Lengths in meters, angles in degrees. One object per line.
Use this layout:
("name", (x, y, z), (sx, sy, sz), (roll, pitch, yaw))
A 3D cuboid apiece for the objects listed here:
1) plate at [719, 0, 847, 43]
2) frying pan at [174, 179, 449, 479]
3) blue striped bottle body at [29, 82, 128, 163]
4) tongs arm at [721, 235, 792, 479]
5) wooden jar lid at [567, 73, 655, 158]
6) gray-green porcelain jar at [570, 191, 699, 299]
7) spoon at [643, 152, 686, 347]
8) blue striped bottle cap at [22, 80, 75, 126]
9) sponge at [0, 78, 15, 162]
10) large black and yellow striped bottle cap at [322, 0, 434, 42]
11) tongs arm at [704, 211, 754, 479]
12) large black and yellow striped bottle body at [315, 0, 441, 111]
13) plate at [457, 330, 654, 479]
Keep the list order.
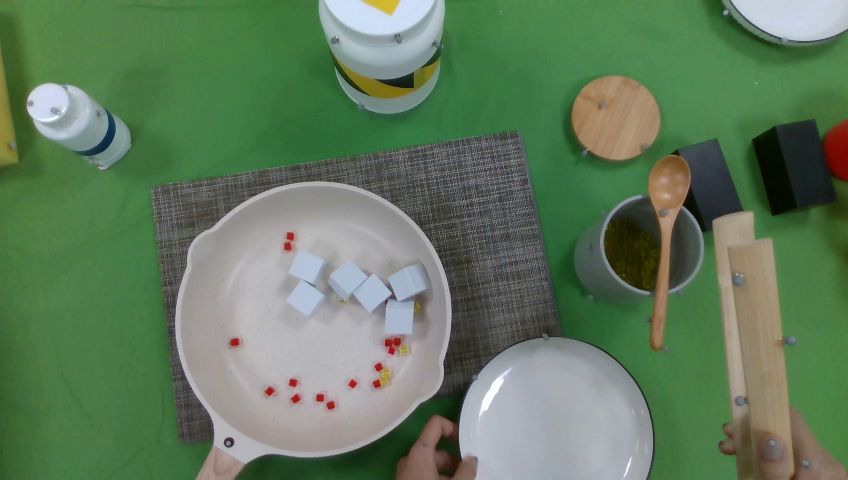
("plate", (0.463, -0.346, 0.774), (0.209, 0.038, 0.208), (0, 82, -1))
("frying pan", (-0.172, 0.165, 0.644), (0.306, 0.103, 0.486), (31, 74, 4))
("blue striped bottle body", (-0.387, -0.133, 0.675), (0.063, 0.121, 0.063), (0, 81, -1))
("tongs arm", (0.248, 0.160, 0.445), (0.026, 0.050, 0.387), (-15, 112, 11))
("wooden jar lid", (0.230, -0.152, 0.749), (0.108, 0.021, 0.108), (0, 83, -2))
("gray-green porcelain jar", (0.224, 0.011, 0.671), (0.106, 0.127, 0.105), (0, 81, -2))
("spoon", (0.233, 0.010, 0.601), (0.042, 0.021, 0.193), (6, 85, -3))
("blue striped bottle cap", (-0.387, -0.142, 0.624), (0.044, 0.020, 0.044), (0, 83, -2))
("sponge", (-0.571, -0.185, 0.706), (0.118, 0.061, 0.206), (-15, 83, -4))
("large black and yellow striped bottle cap", (-0.045, -0.250, 0.587), (0.115, 0.019, 0.114), (0, 83, -2))
("tongs arm", (0.250, 0.149, 0.465), (0.028, 0.028, 0.391), (-17, 116, 8))
("large black and yellow striped bottle body", (-0.048, -0.235, 0.670), (0.131, 0.184, 0.130), (0, 81, -1))
("plate", (0.138, 0.202, 0.652), (0.208, 0.039, 0.206), (0, 79, -1))
